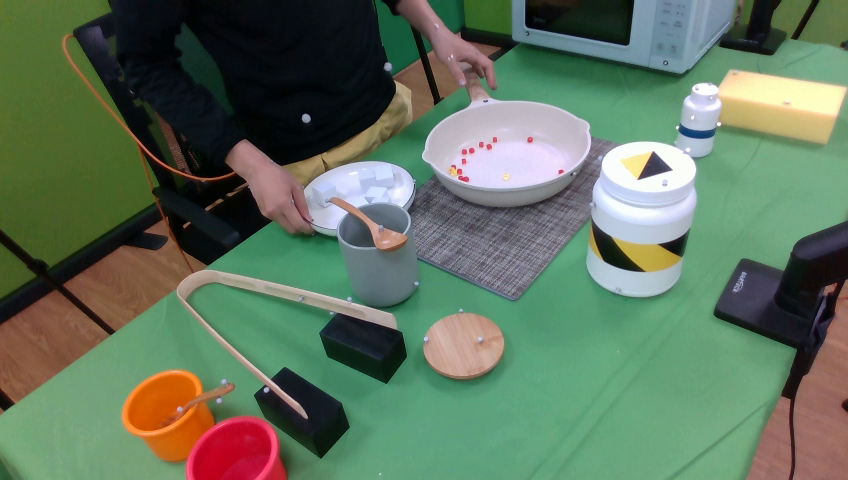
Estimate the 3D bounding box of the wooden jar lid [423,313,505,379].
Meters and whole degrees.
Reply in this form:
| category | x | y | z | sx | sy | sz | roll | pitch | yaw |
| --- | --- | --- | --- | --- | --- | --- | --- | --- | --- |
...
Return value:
| category | x | y | z | sx | sy | sz | roll | pitch | yaw |
| --- | --- | --- | --- | --- | --- | --- | --- | --- | --- |
| wooden jar lid | 0.053 | 0.142 | 0.800 | 0.108 | 0.021 | 0.108 | -4 | 39 | 4 |

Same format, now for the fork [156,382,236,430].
| category | x | y | z | sx | sy | sz | roll | pitch | yaw |
| --- | --- | --- | --- | --- | --- | --- | --- | --- | --- |
| fork | -0.262 | 0.189 | 0.690 | 0.018 | 0.206 | 0.028 | 49 | 43 | -7 |

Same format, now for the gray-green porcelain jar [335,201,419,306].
| category | x | y | z | sx | sy | sz | roll | pitch | yaw |
| --- | --- | --- | --- | --- | --- | --- | --- | --- | --- |
| gray-green porcelain jar | -0.064 | 0.024 | 0.872 | 0.106 | 0.127 | 0.105 | -4 | 41 | 4 |

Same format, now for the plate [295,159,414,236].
| category | x | y | z | sx | sy | sz | roll | pitch | yaw |
| --- | --- | --- | --- | --- | --- | --- | --- | --- | --- |
| plate | -0.118 | -0.070 | 1.055 | 0.207 | 0.039 | 0.206 | -5 | 39 | 5 |

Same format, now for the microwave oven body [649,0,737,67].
| category | x | y | z | sx | sy | sz | roll | pitch | yaw |
| --- | --- | --- | --- | --- | --- | --- | --- | --- | --- |
| microwave oven body | 0.475 | -0.602 | 1.411 | 0.438 | 0.261 | 0.327 | 23 | 50 | 32 |

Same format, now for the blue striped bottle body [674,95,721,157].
| category | x | y | z | sx | sy | sz | roll | pitch | yaw |
| --- | --- | --- | --- | --- | --- | --- | --- | --- | --- |
| blue striped bottle body | 0.486 | -0.213 | 1.071 | 0.063 | 0.121 | 0.063 | -4 | 41 | 4 |

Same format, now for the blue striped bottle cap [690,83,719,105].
| category | x | y | z | sx | sy | sz | roll | pitch | yaw |
| --- | --- | --- | --- | --- | --- | --- | --- | --- | --- |
| blue striped bottle cap | 0.481 | -0.251 | 1.038 | 0.044 | 0.021 | 0.044 | -5 | 40 | 5 |

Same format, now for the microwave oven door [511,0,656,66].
| category | x | y | z | sx | sy | sz | roll | pitch | yaw |
| --- | --- | --- | --- | --- | --- | --- | --- | --- | --- |
| microwave oven door | 0.351 | -0.539 | 1.349 | 0.353 | 0.245 | 0.039 | 24 | 50 | 31 |

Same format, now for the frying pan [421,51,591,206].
| category | x | y | z | sx | sy | sz | roll | pitch | yaw |
| --- | --- | --- | --- | --- | --- | --- | --- | --- | --- |
| frying pan | 0.127 | -0.233 | 1.154 | 0.307 | 0.103 | 0.484 | -11 | 49 | -5 |

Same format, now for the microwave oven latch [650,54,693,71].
| category | x | y | z | sx | sy | sz | roll | pitch | yaw |
| --- | --- | --- | --- | --- | --- | --- | --- | --- | --- |
| microwave oven latch | 0.531 | -0.386 | 1.301 | 0.078 | 0.029 | 0.030 | 26 | 51 | 33 |

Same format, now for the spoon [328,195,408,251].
| category | x | y | z | sx | sy | sz | roll | pitch | yaw |
| --- | --- | --- | --- | --- | --- | --- | --- | --- | --- |
| spoon | -0.083 | -0.029 | 0.829 | 0.042 | 0.022 | 0.192 | -32 | 43 | -21 |

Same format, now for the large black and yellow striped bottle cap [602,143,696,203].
| category | x | y | z | sx | sy | sz | roll | pitch | yaw |
| --- | --- | --- | --- | --- | --- | --- | --- | --- | --- |
| large black and yellow striped bottle cap | 0.289 | -0.088 | 0.778 | 0.115 | 0.019 | 0.114 | -4 | 40 | 4 |

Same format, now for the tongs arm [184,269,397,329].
| category | x | y | z | sx | sy | sz | roll | pitch | yaw |
| --- | --- | --- | --- | --- | --- | --- | --- | --- | --- |
| tongs arm | -0.203 | 0.085 | 0.847 | 0.382 | 0.027 | 0.051 | 11 | 45 | 35 |

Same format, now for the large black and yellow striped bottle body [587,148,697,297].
| category | x | y | z | sx | sy | sz | roll | pitch | yaw |
| --- | --- | --- | --- | --- | --- | --- | --- | --- | --- |
| large black and yellow striped bottle body | 0.298 | -0.026 | 0.834 | 0.131 | 0.185 | 0.130 | -4 | 41 | 4 |

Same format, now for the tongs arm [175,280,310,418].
| category | x | y | z | sx | sy | sz | roll | pitch | yaw |
| --- | --- | --- | --- | --- | --- | --- | --- | --- | --- |
| tongs arm | -0.254 | 0.133 | 0.801 | 0.028 | 0.028 | 0.384 | -41 | 41 | -23 |

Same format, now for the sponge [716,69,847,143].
| category | x | y | z | sx | sy | sz | roll | pitch | yaw |
| --- | --- | --- | --- | --- | --- | --- | --- | --- | --- |
| sponge | 0.663 | -0.256 | 1.142 | 0.205 | 0.061 | 0.118 | 19 | 47 | 28 |
